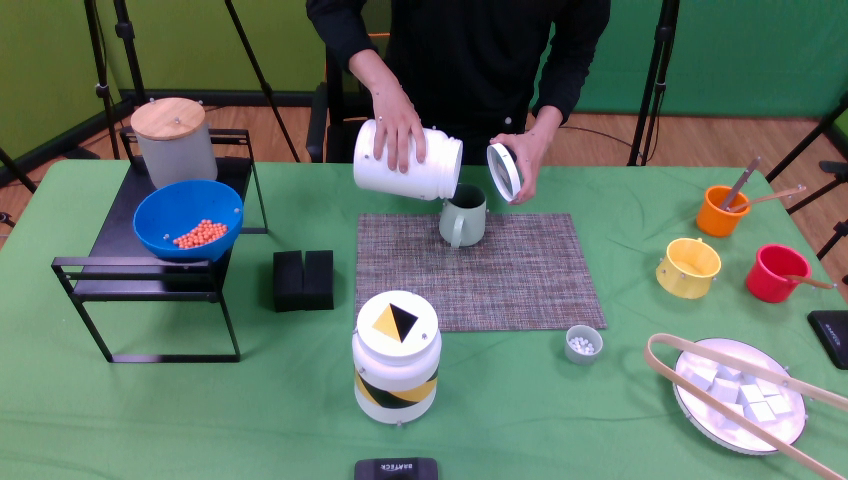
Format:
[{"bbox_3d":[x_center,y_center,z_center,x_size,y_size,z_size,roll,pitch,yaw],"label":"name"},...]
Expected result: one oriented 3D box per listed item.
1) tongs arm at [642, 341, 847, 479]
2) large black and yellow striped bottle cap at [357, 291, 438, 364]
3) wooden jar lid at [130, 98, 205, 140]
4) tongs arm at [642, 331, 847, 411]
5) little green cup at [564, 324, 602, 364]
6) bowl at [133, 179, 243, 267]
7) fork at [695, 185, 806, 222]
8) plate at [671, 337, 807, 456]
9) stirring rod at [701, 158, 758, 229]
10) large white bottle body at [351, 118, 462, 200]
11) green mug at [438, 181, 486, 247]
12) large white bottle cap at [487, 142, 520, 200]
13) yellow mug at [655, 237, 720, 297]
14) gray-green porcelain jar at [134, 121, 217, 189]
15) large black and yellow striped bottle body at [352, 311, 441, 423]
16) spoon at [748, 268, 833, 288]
[{"bbox_3d":[0.504,0.278,0.918,0.386,0.028,0.028,34,59,22],"label":"tongs arm"},{"bbox_3d":[-0.037,0.121,0.851,0.115,0.019,0.114,2,46,-1],"label":"large black and yellow striped bottle cap"},{"bbox_3d":[-0.393,-0.183,0.934,0.108,0.021,0.107,2,44,-2],"label":"wooden jar lid"},{"bbox_3d":[0.546,0.227,0.968,0.384,0.026,0.050,22,52,13],"label":"tongs arm"},{"bbox_3d":[0.269,0.179,1.035,0.061,0.039,0.061,2,46,-2],"label":"little green cup"},{"bbox_3d":[-0.339,-0.013,0.895,0.151,0.077,0.150,2,46,-2],"label":"bowl"},{"bbox_3d":[0.658,-0.074,1.230,0.207,0.019,0.028,-23,36,37],"label":"fork"},{"bbox_3d":[0.504,0.254,0.984,0.208,0.039,0.206,2,46,-2],"label":"plate"},{"bbox_3d":[0.634,-0.096,1.257,0.014,0.006,0.176,38,97,29],"label":"stirring rod"},{"bbox_3d":[-0.030,-0.147,1.123,0.184,0.131,0.130,11,47,5],"label":"large white bottle body"},{"bbox_3d":[0.071,-0.039,1.178,0.092,0.105,0.124,12,47,7],"label":"green mug"},{"bbox_3d":[0.150,-0.131,1.156,0.018,0.115,0.114,-22,51,-8],"label":"large white bottle cap"},{"bbox_3d":[0.509,0.041,1.167,0.099,0.064,0.130,24,48,18],"label":"yellow mug"},{"bbox_3d":[-0.397,-0.141,0.980,0.106,0.127,0.105,2,47,-2],"label":"gray-green porcelain jar"},{"bbox_3d":[-0.042,0.177,0.913,0.131,0.185,0.130,2,46,-2],"label":"large black and yellow striped bottle body"},{"bbox_3d":[0.660,0.068,1.097,0.041,0.193,0.021,-4,91,-6],"label":"spoon"}]
